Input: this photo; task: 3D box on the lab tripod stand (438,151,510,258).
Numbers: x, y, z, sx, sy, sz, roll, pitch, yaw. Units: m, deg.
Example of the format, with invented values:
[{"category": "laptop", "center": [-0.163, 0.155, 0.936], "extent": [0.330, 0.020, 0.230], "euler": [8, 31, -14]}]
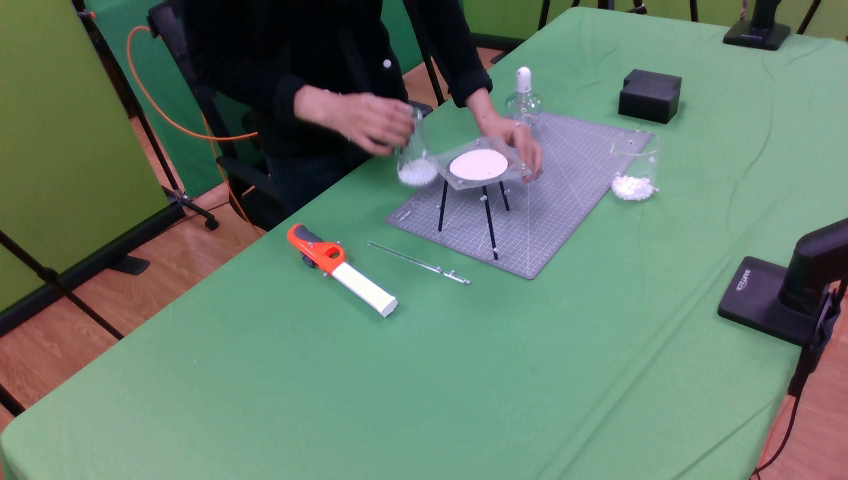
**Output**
[{"category": "lab tripod stand", "center": [0.087, -0.064, 0.952], "extent": [0.148, 0.132, 0.147], "euler": [-6, 38, 5]}]

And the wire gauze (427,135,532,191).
[{"category": "wire gauze", "center": [0.081, -0.115, 0.909], "extent": [0.125, 0.011, 0.120], "euler": [-18, 39, -11]}]

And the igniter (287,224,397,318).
[{"category": "igniter", "center": [-0.139, 0.042, 0.958], "extent": [0.057, 0.025, 0.274], "euler": [-41, 49, -19]}]

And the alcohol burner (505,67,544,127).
[{"category": "alcohol burner", "center": [0.201, -0.288, 1.211], "extent": [0.078, 0.119, 0.077], "euler": [-6, 38, 5]}]

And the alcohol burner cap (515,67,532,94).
[{"category": "alcohol burner cap", "center": [0.197, -0.315, 1.187], "extent": [0.034, 0.048, 0.033], "euler": [-3, 47, 3]}]

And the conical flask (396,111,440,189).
[{"category": "conical flask", "center": [-0.015, -0.152, 0.998], "extent": [0.075, 0.122, 0.075], "euler": [-4, 42, 4]}]

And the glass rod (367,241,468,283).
[{"category": "glass rod", "center": [-0.015, 0.032, 0.960], "extent": [0.198, 0.008, 0.008], "euler": [21, 49, 30]}]

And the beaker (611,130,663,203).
[{"category": "beaker", "center": [0.346, -0.118, 0.998], "extent": [0.084, 0.101, 0.073], "euler": [-17, 40, -7]}]
